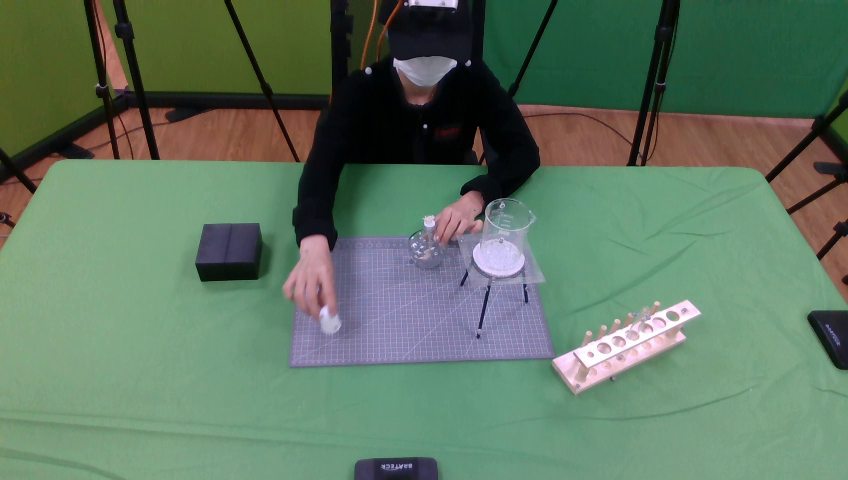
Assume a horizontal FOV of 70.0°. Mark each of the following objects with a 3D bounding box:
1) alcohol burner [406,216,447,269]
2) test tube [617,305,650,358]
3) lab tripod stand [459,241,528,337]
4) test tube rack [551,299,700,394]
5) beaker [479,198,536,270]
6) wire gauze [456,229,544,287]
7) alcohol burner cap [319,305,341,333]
[{"bbox_3d":[0.006,-0.003,1.134,0.078,0.120,0.077,2,48,-2],"label":"alcohol burner"},{"bbox_3d":[0.333,0.149,0.967,0.017,0.151,0.017,0,52,1],"label":"test tube"},{"bbox_3d":[0.122,0.075,1.054,0.148,0.132,0.147,3,44,-3],"label":"lab tripod stand"},{"bbox_3d":[0.339,0.166,1.021,0.242,0.085,0.066,-19,50,-21],"label":"test tube rack"},{"bbox_3d":[0.131,-0.007,0.975,0.084,0.101,0.073,2,46,-3],"label":"beaker"},{"bbox_3d":[0.125,0.030,1.008,0.125,0.011,0.120,-3,48,-11],"label":"wire gauze"},{"bbox_3d":[-0.156,0.127,0.994,0.034,0.048,0.033,-2,43,2],"label":"alcohol burner cap"}]
